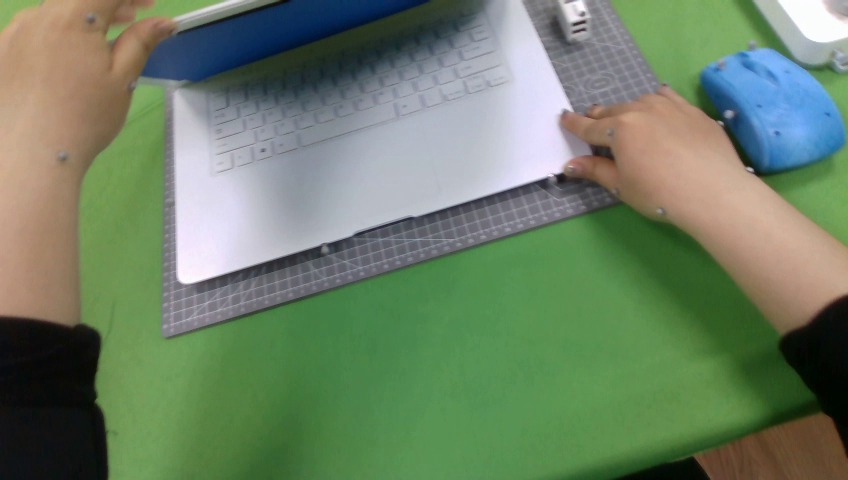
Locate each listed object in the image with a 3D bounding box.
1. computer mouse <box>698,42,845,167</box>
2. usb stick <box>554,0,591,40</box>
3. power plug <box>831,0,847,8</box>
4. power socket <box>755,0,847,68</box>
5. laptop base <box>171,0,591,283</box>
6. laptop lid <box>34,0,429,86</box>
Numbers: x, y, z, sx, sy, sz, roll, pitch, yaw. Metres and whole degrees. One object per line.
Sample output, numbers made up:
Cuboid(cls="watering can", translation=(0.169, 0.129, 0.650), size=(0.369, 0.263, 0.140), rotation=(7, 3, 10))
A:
Cuboid(cls="computer mouse", translation=(0.260, -0.109, 0.459), size=(0.063, 0.041, 0.116), rotation=(-17, 54, 6))
Cuboid(cls="usb stick", translation=(0.133, -0.213, 0.553), size=(0.021, 0.027, 0.058), rotation=(-17, 56, 10))
Cuboid(cls="power plug", translation=(0.352, -0.195, 0.463), size=(0.072, 0.053, 0.035), rotation=(-5, 62, 10))
Cuboid(cls="power socket", translation=(0.316, -0.239, 0.522), size=(0.072, 0.033, 0.224), rotation=(-15, 59, 7))
Cuboid(cls="laptop base", translation=(-0.058, -0.107, 0.546), size=(0.354, 0.023, 0.233), rotation=(-17, 62, 3))
Cuboid(cls="laptop lid", translation=(-0.086, -0.183, 0.486), size=(0.356, 0.240, 0.013), rotation=(-17, 103, 5))
